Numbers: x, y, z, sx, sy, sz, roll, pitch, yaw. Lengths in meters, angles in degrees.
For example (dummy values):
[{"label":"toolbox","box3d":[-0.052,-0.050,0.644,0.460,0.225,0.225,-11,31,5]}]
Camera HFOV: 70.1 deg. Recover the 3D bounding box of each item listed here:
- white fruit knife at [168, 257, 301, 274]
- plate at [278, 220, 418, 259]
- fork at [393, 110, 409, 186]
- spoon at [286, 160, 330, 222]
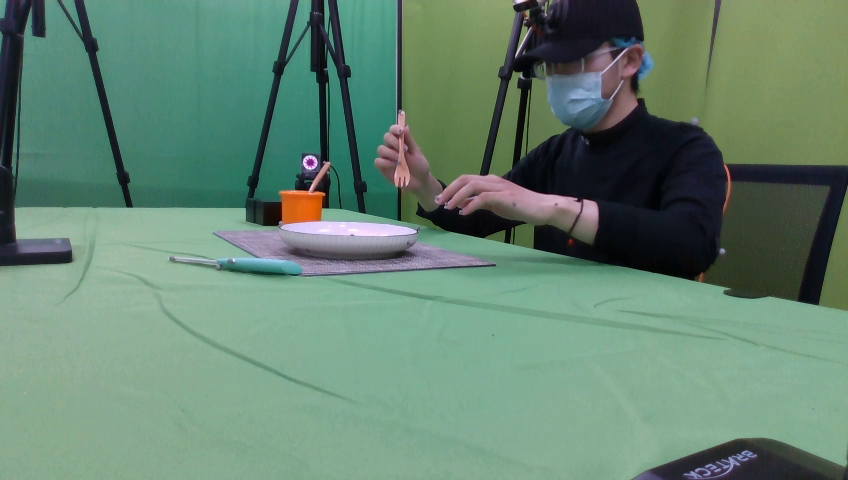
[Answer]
[{"label":"white fruit knife","box3d":[-0.243,0.029,0.749,0.206,0.016,0.027,2,-17,26]},{"label":"plate","box3d":[-0.114,-0.002,0.914,0.209,0.038,0.209,2,8,0]},{"label":"fork","box3d":[-0.043,-0.173,1.119,0.028,0.207,0.018,-3,-36,2]},{"label":"spoon","box3d":[-0.233,-0.101,1.252,0.041,0.193,0.022,4,-37,22]}]
